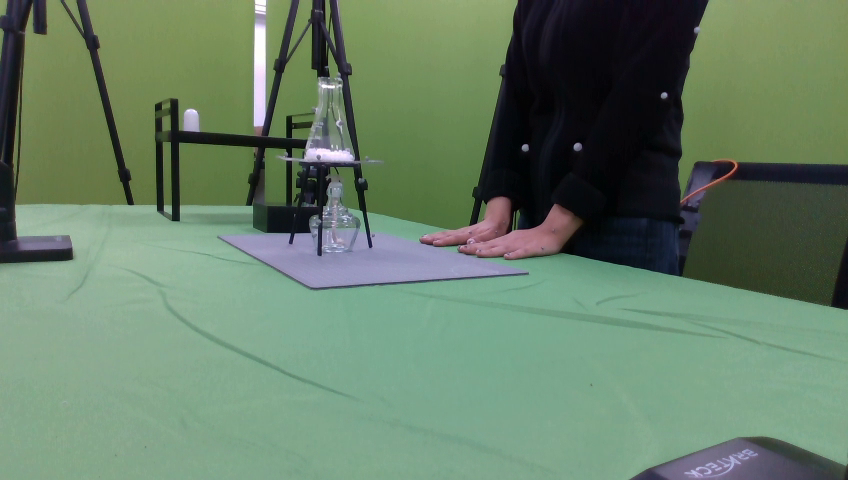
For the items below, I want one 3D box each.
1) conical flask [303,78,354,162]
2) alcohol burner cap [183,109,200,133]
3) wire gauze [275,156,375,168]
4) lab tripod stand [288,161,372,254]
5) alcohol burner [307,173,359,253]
[{"bbox_3d":[-0.140,-0.175,0.892,0.075,0.122,0.075,1,7,0],"label":"conical flask"},{"bbox_3d":[-0.472,-0.241,1.229,0.034,0.048,0.034,3,8,0],"label":"alcohol burner cap"},{"bbox_3d":[-0.142,-0.116,0.899,0.122,0.011,0.124,-1,5,-36],"label":"wire gauze"},{"bbox_3d":[-0.148,-0.052,0.908,0.148,0.131,0.148,1,8,0],"label":"lab tripod stand"},{"bbox_3d":[-0.135,-0.041,0.901,0.078,0.119,0.078,2,6,0],"label":"alcohol burner"}]
